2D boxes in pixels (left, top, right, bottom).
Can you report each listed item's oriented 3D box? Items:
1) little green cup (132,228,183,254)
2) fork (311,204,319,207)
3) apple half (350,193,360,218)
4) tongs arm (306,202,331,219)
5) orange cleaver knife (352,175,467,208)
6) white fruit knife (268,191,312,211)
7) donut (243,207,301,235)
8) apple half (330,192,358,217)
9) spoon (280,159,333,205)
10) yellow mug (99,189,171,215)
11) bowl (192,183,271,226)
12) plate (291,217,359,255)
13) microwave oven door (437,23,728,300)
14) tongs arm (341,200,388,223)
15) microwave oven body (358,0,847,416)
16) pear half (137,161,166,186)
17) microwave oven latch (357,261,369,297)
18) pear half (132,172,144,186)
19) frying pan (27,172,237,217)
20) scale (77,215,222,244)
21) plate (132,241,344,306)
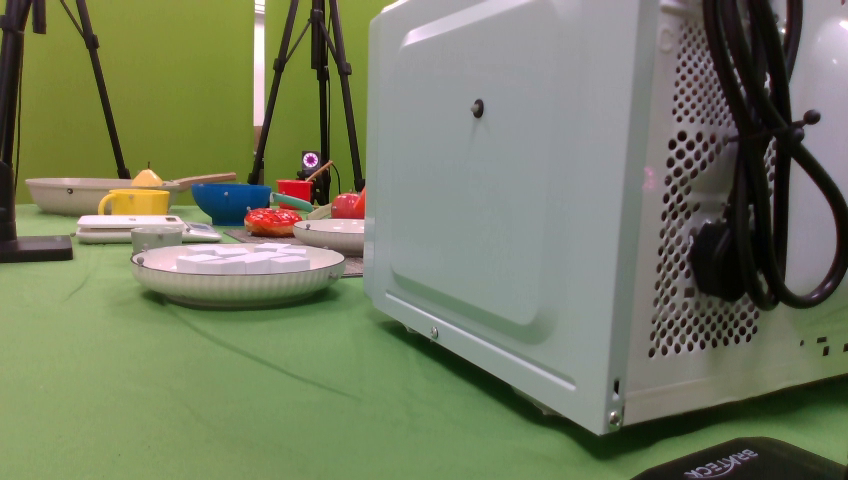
[{"bbox_3d":[-0.342,0.006,0.779,0.061,0.038,0.061,2,8,0],"label":"little green cup"},{"bbox_3d":[-0.356,-0.105,1.526,0.208,0.018,0.028,16,-6,-41],"label":"fork"},{"bbox_3d":[-0.112,-0.053,1.133,0.033,0.081,0.081,1,7,14],"label":"apple half"},{"bbox_3d":[-0.234,-0.068,1.414,0.028,0.028,0.387,-5,7,1],"label":"tongs arm"},{"bbox_3d":[-0.024,-0.086,1.089,0.212,0.012,0.077,-8,-32,-22],"label":"orange cleaver knife"},{"bbox_3d":[-0.364,-0.105,1.464,0.208,0.027,0.016,15,0,-34],"label":"white fruit knife"},{"bbox_3d":[-0.261,-0.032,1.043,0.099,0.048,0.099,4,9,0],"label":"donut"},{"bbox_3d":[-0.149,-0.055,1.142,0.053,0.074,0.081,1,10,14],"label":"apple half"},{"bbox_3d":[-0.317,-0.159,1.640,0.194,0.022,0.041,-49,32,-20],"label":"spoon"},{"bbox_3d":[-0.519,-0.055,1.080,0.099,0.064,0.131,7,9,26],"label":"yellow mug"},{"bbox_3d":[-0.382,-0.071,1.202,0.151,0.077,0.151,3,7,0],"label":"bowl"},{"bbox_3d":[-0.098,-0.007,0.928,0.209,0.038,0.209,2,8,0],"label":"plate"},{"bbox_3d":[0.180,-0.072,0.621,0.358,0.243,0.039,-2,8,-29],"label":"microwave oven door"},{"bbox_3d":[-0.149,-0.069,1.429,0.051,0.026,0.383,-3,8,-15],"label":"tongs arm"},{"bbox_3d":[0.211,-0.047,0.474,0.444,0.260,0.324,-1,7,-28],"label":"microwave oven body"},{"bbox_3d":[-0.602,-0.120,1.354,0.056,0.110,0.076,4,11,6],"label":"pear half"},{"bbox_3d":[-0.019,0.033,0.531,0.079,0.029,0.030,-1,7,-27],"label":"microwave oven latch"},{"bbox_3d":[-0.638,-0.113,1.361,0.031,0.088,0.070,5,11,4],"label":"pear half"},{"bbox_3d":[-0.624,-0.118,1.387,0.305,0.102,0.490,8,17,32],"label":"frying pan"},{"bbox_3d":[-0.434,-0.019,0.963,0.202,0.031,0.148,-1,9,-27],"label":"scale"},{"bbox_3d":[-0.187,0.033,0.625,0.208,0.039,0.207,2,8,0],"label":"plate"}]
